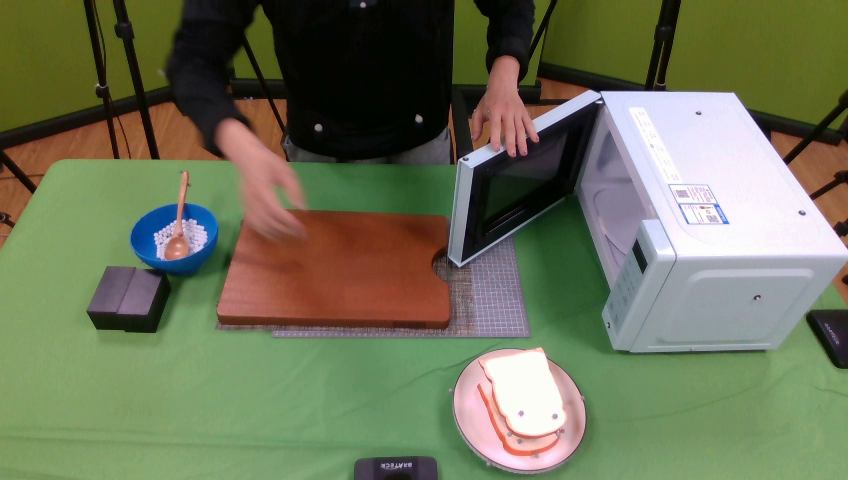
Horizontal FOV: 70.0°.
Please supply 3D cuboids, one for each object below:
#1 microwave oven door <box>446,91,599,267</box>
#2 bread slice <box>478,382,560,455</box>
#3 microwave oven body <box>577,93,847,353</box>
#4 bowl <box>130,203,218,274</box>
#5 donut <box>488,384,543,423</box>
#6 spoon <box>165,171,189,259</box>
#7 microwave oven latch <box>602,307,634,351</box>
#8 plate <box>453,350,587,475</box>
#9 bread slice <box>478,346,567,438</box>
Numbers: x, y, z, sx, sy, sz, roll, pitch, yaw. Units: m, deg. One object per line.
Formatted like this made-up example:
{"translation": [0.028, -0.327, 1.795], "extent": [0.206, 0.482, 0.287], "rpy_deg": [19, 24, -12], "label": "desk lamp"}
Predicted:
{"translation": [0.191, -0.120, 1.157], "extent": [0.356, 0.245, 0.039], "rpy_deg": [-31, 55, -29], "label": "microwave oven door"}
{"translation": [0.154, 0.268, 0.944], "extent": [0.105, 0.019, 0.130], "rpy_deg": [-10, 47, -12], "label": "bread slice"}
{"translation": [0.475, -0.041, 1.109], "extent": [0.326, 0.261, 0.438], "rpy_deg": [-1, 45, -4], "label": "microwave oven body"}
{"translation": [-0.451, 0.010, 1.116], "extent": [0.151, 0.077, 0.150], "rpy_deg": [3, 45, -2], "label": "bowl"}
{"translation": [0.147, 0.242, 0.928], "extent": [0.099, 0.048, 0.098], "rpy_deg": [-3, 40, 3], "label": "donut"}
{"translation": [-0.452, -0.046, 1.129], "extent": [0.041, 0.022, 0.193], "rpy_deg": [-1, 69, -2], "label": "spoon"}
{"translation": [0.332, 0.153, 1.044], "extent": [0.030, 0.029, 0.078], "rpy_deg": [0, 45, -4], "label": "microwave oven latch"}
{"translation": [0.146, 0.267, 0.943], "extent": [0.208, 0.039, 0.206], "rpy_deg": [2, 46, -2], "label": "plate"}
{"translation": [0.152, 0.227, 0.901], "extent": [0.107, 0.018, 0.133], "rpy_deg": [-11, 54, -16], "label": "bread slice"}
